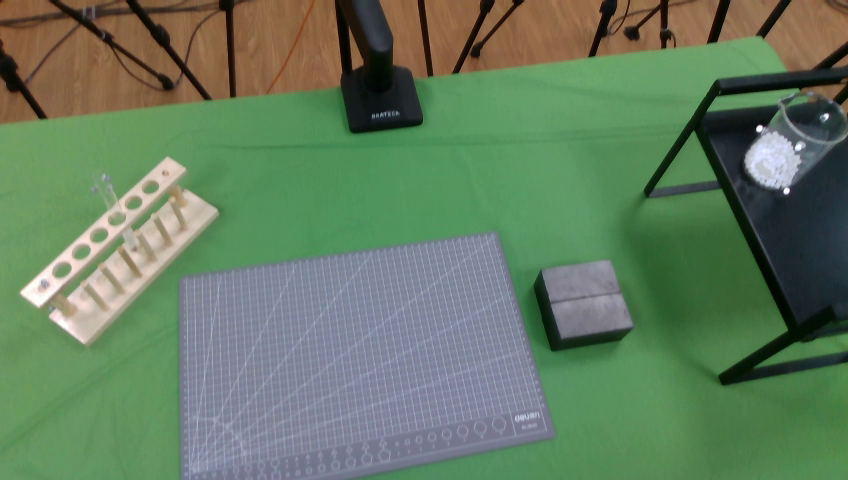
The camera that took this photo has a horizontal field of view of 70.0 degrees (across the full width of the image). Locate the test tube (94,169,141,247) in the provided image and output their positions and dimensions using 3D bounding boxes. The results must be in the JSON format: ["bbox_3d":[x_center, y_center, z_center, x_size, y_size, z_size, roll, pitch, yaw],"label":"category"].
[{"bbox_3d":[-0.385,-0.036,0.765,0.017,0.151,0.017,4,56,-5],"label":"test tube"}]

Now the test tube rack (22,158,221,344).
[{"bbox_3d":[-0.385,0.011,0.796,0.066,0.086,0.241,32,64,13],"label":"test tube rack"}]

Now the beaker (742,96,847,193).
[{"bbox_3d":[0.431,-0.110,0.714,0.083,0.101,0.074,37,65,16],"label":"beaker"}]
